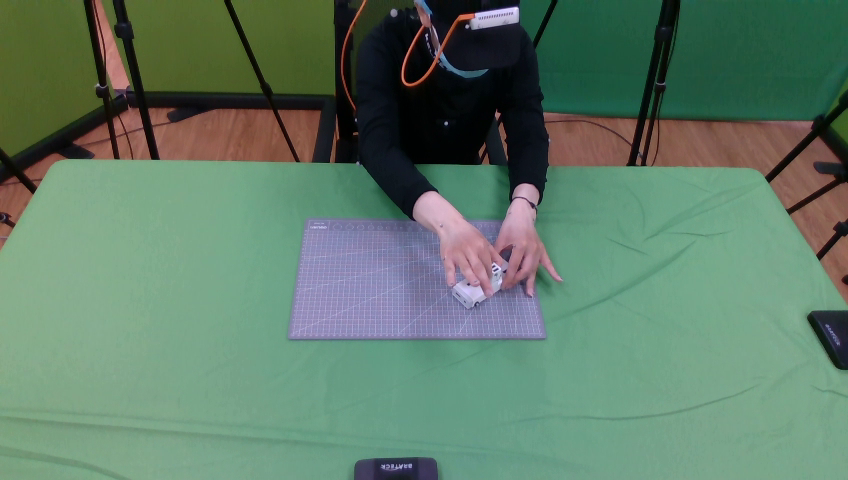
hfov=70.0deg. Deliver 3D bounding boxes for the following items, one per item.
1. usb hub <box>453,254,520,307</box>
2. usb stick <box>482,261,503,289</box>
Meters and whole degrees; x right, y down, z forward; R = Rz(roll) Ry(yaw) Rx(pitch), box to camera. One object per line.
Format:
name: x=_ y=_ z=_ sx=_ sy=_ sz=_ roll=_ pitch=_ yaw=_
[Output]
usb hub: x=0.117 y=0.074 z=1.120 sx=0.125 sy=0.025 sz=0.049 roll=-28 pitch=62 yaw=-29
usb stick: x=0.122 y=0.067 z=1.088 sx=0.021 sy=0.059 sz=0.027 roll=-26 pitch=56 yaw=-32
